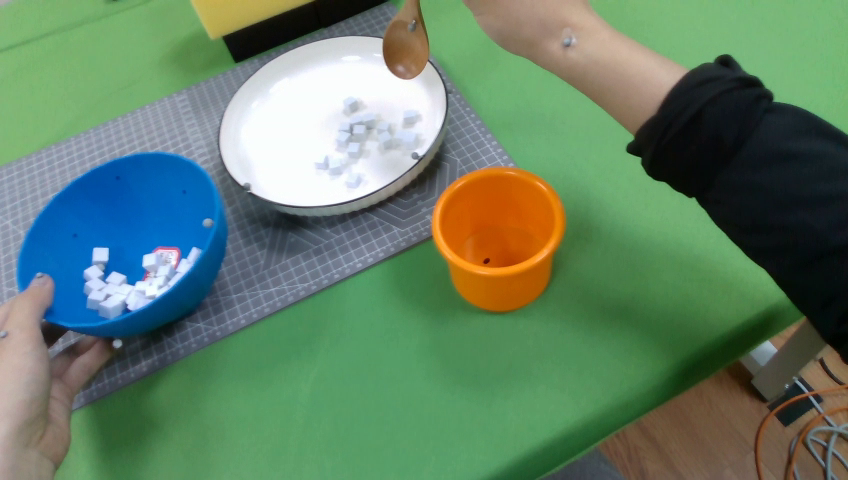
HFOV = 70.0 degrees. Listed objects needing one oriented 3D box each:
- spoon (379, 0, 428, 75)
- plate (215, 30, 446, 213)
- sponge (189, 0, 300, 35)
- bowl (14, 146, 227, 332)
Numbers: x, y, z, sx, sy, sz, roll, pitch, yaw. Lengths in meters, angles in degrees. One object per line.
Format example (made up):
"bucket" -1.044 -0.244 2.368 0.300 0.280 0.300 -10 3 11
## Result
"spoon" -0.005 -0.182 0.415 0.041 0.194 0.021 30 67 3
"plate" -0.082 -0.107 0.550 0.209 0.038 0.207 -4 58 6
"sponge" -0.146 -0.299 0.610 0.207 0.061 0.117 -25 58 -7
"bowl" -0.214 0.011 0.464 0.151 0.077 0.150 -4 58 7
